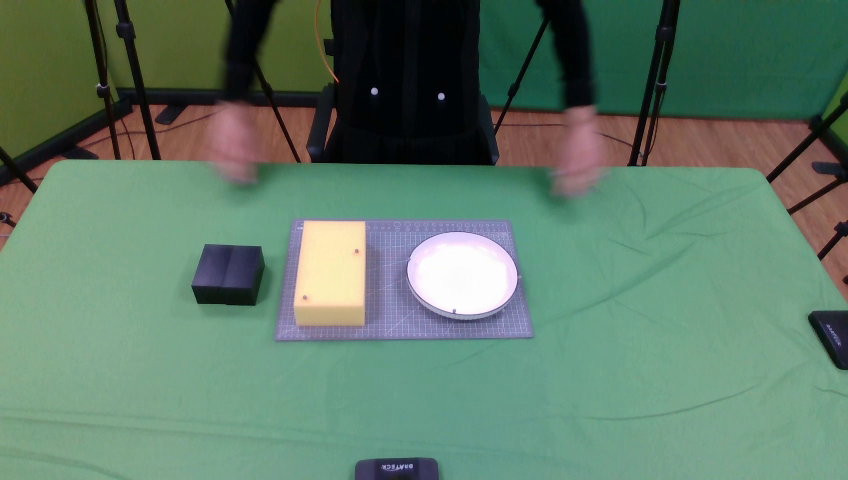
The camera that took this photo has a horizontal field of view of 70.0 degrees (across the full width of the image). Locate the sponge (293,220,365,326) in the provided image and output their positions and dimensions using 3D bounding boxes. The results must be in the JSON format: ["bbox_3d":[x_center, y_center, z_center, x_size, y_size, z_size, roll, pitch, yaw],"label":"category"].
[{"bbox_3d":[-0.167,0.056,1.101,0.118,0.061,0.205,-1,47,-4],"label":"sponge"}]

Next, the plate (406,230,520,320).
[{"bbox_3d":[0.070,0.067,1.122,0.209,0.038,0.208,2,46,-2],"label":"plate"}]
